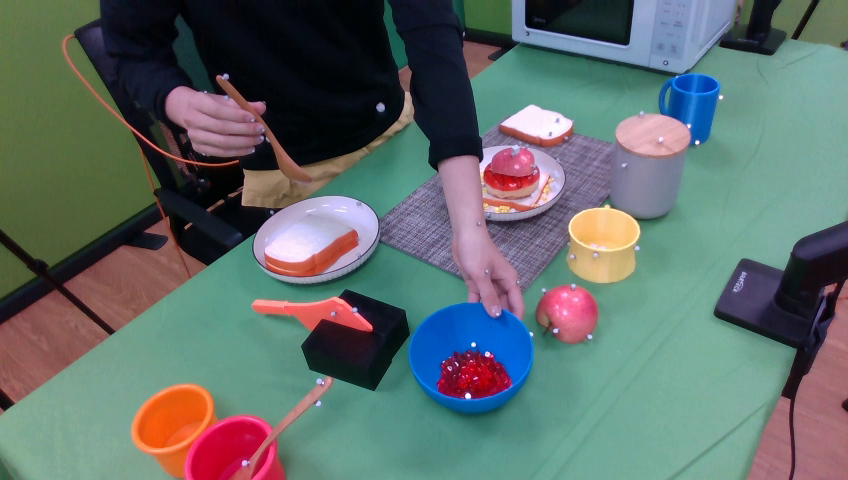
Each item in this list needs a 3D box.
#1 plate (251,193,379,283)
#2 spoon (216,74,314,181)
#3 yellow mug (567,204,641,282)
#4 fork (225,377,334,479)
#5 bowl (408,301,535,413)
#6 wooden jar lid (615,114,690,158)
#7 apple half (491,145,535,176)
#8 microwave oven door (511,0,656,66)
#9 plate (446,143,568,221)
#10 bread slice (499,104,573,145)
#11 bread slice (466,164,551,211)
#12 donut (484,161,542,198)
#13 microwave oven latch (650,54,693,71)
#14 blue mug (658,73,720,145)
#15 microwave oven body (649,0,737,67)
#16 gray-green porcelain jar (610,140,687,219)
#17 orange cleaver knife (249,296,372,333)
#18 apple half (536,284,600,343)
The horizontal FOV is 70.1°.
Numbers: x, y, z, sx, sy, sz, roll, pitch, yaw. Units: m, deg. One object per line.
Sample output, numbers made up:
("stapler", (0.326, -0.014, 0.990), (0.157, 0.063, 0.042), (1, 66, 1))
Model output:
("plate", (-0.174, -0.001, 0.985), (0.209, 0.038, 0.208), (-4, 41, 4))
("spoon", (-0.199, -0.135, 0.763), (0.041, 0.195, 0.021), (6, 56, 31))
("yellow mug", (0.268, -0.004, 0.905), (0.099, 0.064, 0.130), (6, 41, 16))
("fork", (-0.163, 0.216, 0.646), (0.207, 0.019, 0.028), (-49, 42, 16))
("bowl", (0.060, 0.156, 0.738), (0.151, 0.077, 0.150), (-4, 40, 4))
("wooden jar lid", (0.347, -0.155, 0.923), (0.108, 0.021, 0.108), (-3, 44, 4))
("apple half", (0.147, -0.138, 0.993), (0.081, 0.033, 0.081), (1, 37, 0))
("microwave oven door", (0.350, -0.539, 1.348), (0.353, 0.245, 0.039), (24, 50, 31))
("plate", (0.142, -0.097, 1.045), (0.207, 0.039, 0.206), (-4, 40, 4))
("bread slice", (0.231, -0.231, 1.205), (0.105, 0.019, 0.130), (-36, 47, -28))
("bread slice", (0.141, -0.092, 1.042), (0.133, 0.018, 0.107), (10, 42, 19))
("donut", (0.149, -0.109, 1.016), (0.099, 0.048, 0.098), (-4, 40, 4))
("microwave oven latch", (0.531, -0.386, 1.301), (0.078, 0.029, 0.030), (26, 51, 33))
("blue mug", (0.483, -0.250, 1.127), (0.082, 0.106, 0.115), (-26, 44, -19))
("microwave oven body", (0.475, -0.602, 1.411), (0.438, 0.261, 0.327), (23, 50, 32))
("gray-green porcelain jar", (0.354, -0.106, 0.964), (0.106, 0.127, 0.105), (-4, 41, 4))
("orange cleaver knife", (-0.159, 0.103, 0.827), (0.210, 0.078, 0.012), (-4, 44, 38))
("apple half", (0.196, 0.091, 0.815), (0.075, 0.053, 0.080), (-22, 42, -19))
